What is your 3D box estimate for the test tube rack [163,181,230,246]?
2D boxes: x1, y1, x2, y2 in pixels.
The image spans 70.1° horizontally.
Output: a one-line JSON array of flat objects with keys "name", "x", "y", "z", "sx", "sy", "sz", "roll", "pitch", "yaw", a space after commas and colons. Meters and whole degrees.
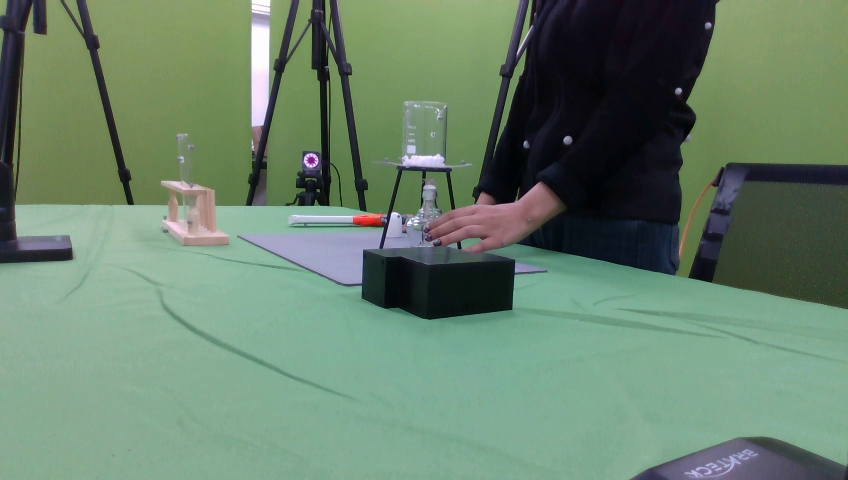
[{"name": "test tube rack", "x": -0.387, "y": -0.050, "z": 1.015, "sx": 0.067, "sy": 0.085, "sz": 0.241, "roll": -2, "pitch": 9, "yaw": -30}]

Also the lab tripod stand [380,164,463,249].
[{"name": "lab tripod stand", "x": -0.003, "y": -0.055, "z": 0.967, "sx": 0.148, "sy": 0.131, "sz": 0.148, "roll": 2, "pitch": 9, "yaw": 0}]

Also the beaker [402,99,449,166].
[{"name": "beaker", "x": 0.003, "y": -0.168, "z": 0.957, "sx": 0.073, "sy": 0.100, "sz": 0.084, "roll": 8, "pitch": 10, "yaw": 35}]

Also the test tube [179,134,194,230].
[{"name": "test tube", "x": -0.366, "y": -0.089, "z": 0.938, "sx": 0.017, "sy": 0.150, "sz": 0.017, "roll": -1, "pitch": 9, "yaw": 1}]

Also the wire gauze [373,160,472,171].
[{"name": "wire gauze", "x": -0.004, "y": -0.120, "z": 0.959, "sx": 0.122, "sy": 0.011, "sz": 0.124, "roll": -5, "pitch": 13, "yaw": -33}]

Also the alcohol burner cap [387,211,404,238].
[{"name": "alcohol burner cap", "x": -0.053, "y": -0.029, "z": 1.107, "sx": 0.034, "sy": 0.048, "sz": 0.034, "roll": 2, "pitch": 9, "yaw": 0}]

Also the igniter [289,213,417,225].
[{"name": "igniter", "x": -0.144, "y": -0.044, "z": 1.275, "sx": 0.278, "sy": 0.025, "sz": 0.057, "roll": -1, "pitch": -2, "yaw": -27}]

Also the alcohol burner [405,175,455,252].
[{"name": "alcohol burner", "x": 0.009, "y": -0.042, "z": 0.944, "sx": 0.078, "sy": 0.119, "sz": 0.078, "roll": 0, "pitch": 7, "yaw": 0}]
